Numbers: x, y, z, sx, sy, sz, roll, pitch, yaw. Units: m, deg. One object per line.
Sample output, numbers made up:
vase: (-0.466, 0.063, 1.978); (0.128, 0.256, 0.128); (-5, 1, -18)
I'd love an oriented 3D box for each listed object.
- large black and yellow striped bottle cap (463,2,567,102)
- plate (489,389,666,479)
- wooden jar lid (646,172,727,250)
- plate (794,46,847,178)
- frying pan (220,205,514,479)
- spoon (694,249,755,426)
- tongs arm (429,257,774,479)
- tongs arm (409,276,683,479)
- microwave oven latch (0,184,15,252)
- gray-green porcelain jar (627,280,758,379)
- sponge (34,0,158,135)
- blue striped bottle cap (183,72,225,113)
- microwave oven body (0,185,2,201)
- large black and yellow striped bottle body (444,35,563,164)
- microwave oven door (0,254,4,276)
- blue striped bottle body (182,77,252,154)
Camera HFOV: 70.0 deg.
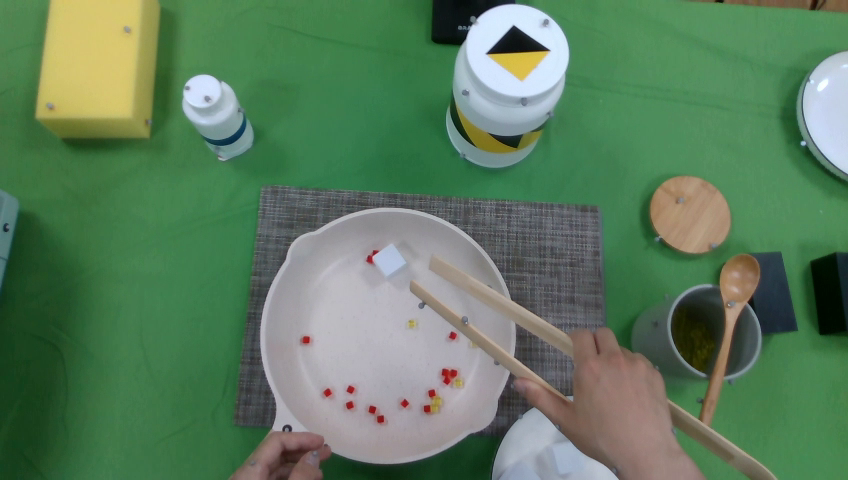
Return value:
large black and yellow striped bottle cap: (0.101, -0.209, 0.670); (0.115, 0.019, 0.114); (1, 77, -3)
plate: (0.177, 0.279, 0.709); (0.208, 0.039, 0.206); (1, 77, -3)
wooden jar lid: (0.349, -0.038, 0.812); (0.108, 0.021, 0.108); (1, 77, -3)
plate: (0.619, -0.173, 0.852); (0.209, 0.038, 0.208); (1, 75, -3)
frying pan: (-0.113, 0.172, 0.683); (0.306, 0.103, 0.487); (43, 69, 9)
spoon: (0.316, 0.103, 0.646); (0.041, 0.022, 0.193); (19, 79, -1)
tongs arm: (0.156, 0.126, 0.571); (0.385, 0.028, 0.028); (34, 50, 20)
tongs arm: (0.141, 0.139, 0.558); (0.382, 0.027, 0.051); (37, 55, 22)
microwave oven latch: (-0.518, -0.027, 0.728); (0.030, 0.029, 0.079); (6, 76, -2)
gray-green porcelain jar: (0.308, 0.110, 0.716); (0.106, 0.127, 0.105); (1, 75, -3)
sponge: (-0.426, -0.244, 0.796); (0.118, 0.061, 0.205); (-2, 76, -4)
blue striped bottle cap: (-0.256, -0.173, 0.705); (0.044, 0.021, 0.044); (1, 77, -3)
microwave oven body: (-0.670, 0.109, 0.584); (0.326, 0.261, 0.439); (4, 76, -3)
large black and yellow striped bottle body: (0.095, -0.186, 0.751); (0.131, 0.184, 0.130); (1, 75, -3)
microwave oven door: (-0.527, 0.158, 0.575); (0.039, 0.245, 0.354); (3, 75, -2)
blue striped bottle body: (-0.258, -0.158, 0.754); (0.063, 0.121, 0.062); (1, 75, -3)
